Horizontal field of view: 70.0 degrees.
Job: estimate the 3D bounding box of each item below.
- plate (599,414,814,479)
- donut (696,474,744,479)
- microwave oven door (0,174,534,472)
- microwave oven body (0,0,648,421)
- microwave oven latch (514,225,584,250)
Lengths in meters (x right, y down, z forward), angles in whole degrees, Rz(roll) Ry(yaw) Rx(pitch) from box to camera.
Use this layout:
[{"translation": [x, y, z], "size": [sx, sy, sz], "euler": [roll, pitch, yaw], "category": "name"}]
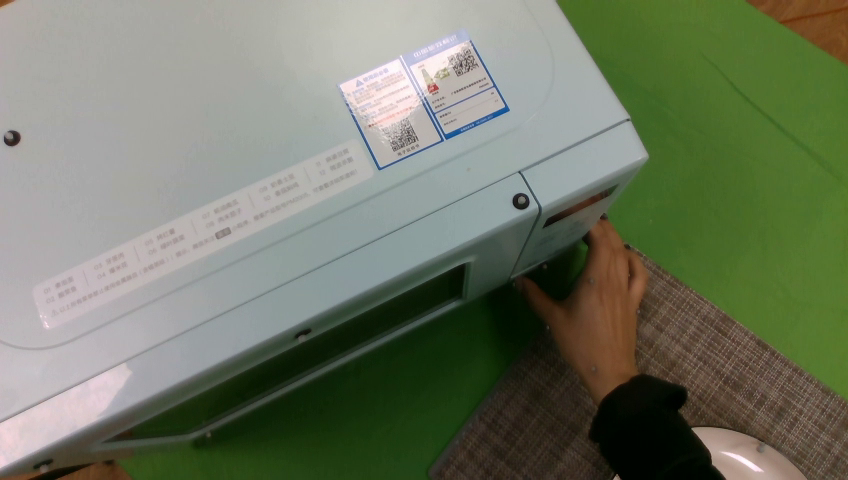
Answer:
[{"translation": [0.248, 0.260, 0.533], "size": [0.209, 0.038, 0.208], "euler": [0, 76, 2], "category": "plate"}, {"translation": [0.261, 0.253, 0.523], "size": [0.099, 0.048, 0.098], "euler": [0, 79, 1], "category": "donut"}, {"translation": [-0.091, 0.070, 0.470], "size": [0.356, 0.245, 0.039], "euler": [-27, 76, -4], "category": "microwave oven door"}, {"translation": [-0.118, -0.074, 0.511], "size": [0.442, 0.261, 0.324], "euler": [-26, 77, -4], "category": "microwave oven body"}, {"translation": [0.112, -0.009, 0.587], "size": [0.079, 0.029, 0.030], "euler": [-10, 77, 0], "category": "microwave oven latch"}]
